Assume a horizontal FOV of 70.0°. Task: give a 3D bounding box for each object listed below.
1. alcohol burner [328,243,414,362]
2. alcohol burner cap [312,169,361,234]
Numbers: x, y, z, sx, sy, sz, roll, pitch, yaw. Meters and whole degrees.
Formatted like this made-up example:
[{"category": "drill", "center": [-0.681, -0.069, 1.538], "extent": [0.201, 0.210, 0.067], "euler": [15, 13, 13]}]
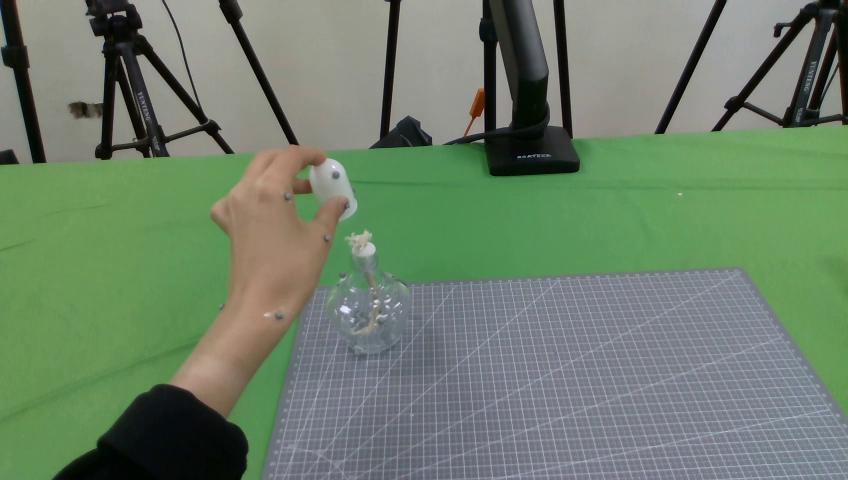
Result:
[{"category": "alcohol burner", "center": [-0.048, 0.050, 0.535], "extent": [0.078, 0.120, 0.077], "euler": [-1, 36, 1]}, {"category": "alcohol burner cap", "center": [-0.068, -0.032, 0.459], "extent": [0.034, 0.048, 0.033], "euler": [-5, 44, 5]}]
